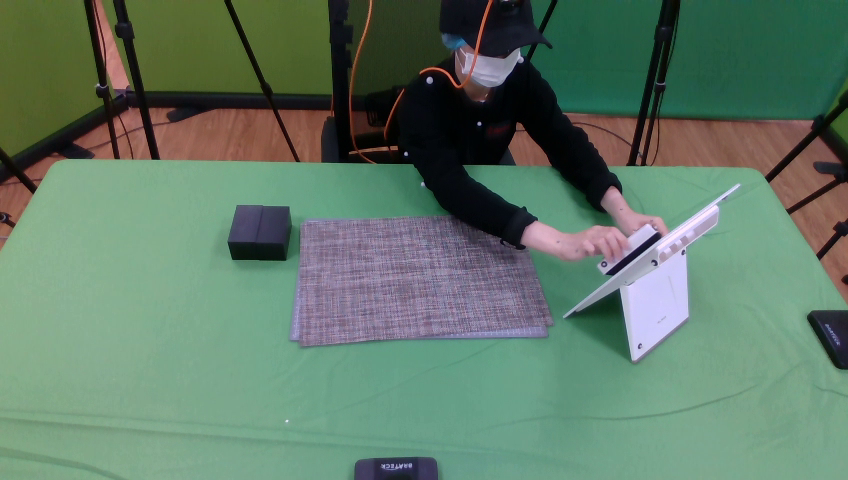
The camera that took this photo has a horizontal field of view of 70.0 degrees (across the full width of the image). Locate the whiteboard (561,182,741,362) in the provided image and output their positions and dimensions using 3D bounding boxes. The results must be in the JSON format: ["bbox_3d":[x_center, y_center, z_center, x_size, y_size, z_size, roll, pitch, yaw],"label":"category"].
[{"bbox_3d":[0.406,0.076,1.001,0.217,0.306,0.143,-28,73,-28],"label":"whiteboard"}]

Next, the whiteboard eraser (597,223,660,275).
[{"bbox_3d":[0.350,0.019,1.034,0.041,0.113,0.056,51,18,12],"label":"whiteboard eraser"}]
